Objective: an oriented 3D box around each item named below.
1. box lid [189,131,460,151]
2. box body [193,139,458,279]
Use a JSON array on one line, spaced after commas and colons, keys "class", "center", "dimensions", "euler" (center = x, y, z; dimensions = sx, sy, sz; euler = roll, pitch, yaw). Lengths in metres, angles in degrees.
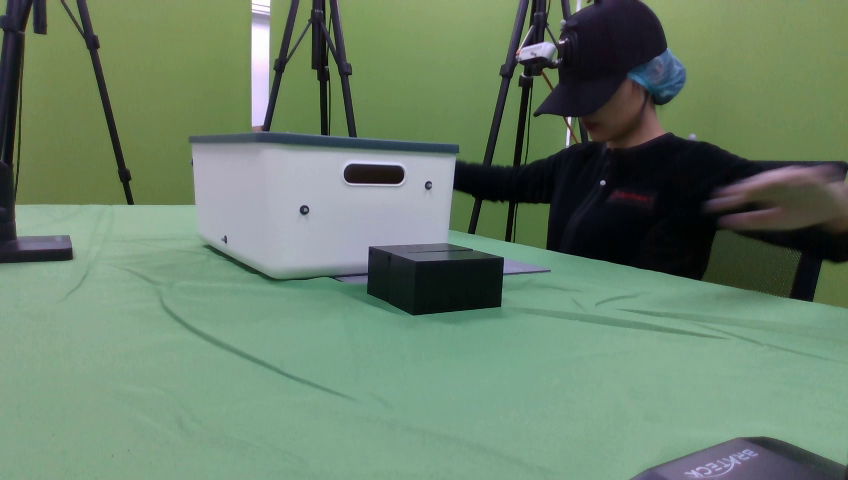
[{"class": "box lid", "center": [-0.150, -0.132, 0.828], "dimensions": [0.265, 0.015, 0.369], "euler": [-3, 9, -33]}, {"class": "box body", "center": [-0.154, -0.059, 0.840], "dimensions": [0.255, 0.160, 0.362], "euler": [-2, 9, -33]}]
